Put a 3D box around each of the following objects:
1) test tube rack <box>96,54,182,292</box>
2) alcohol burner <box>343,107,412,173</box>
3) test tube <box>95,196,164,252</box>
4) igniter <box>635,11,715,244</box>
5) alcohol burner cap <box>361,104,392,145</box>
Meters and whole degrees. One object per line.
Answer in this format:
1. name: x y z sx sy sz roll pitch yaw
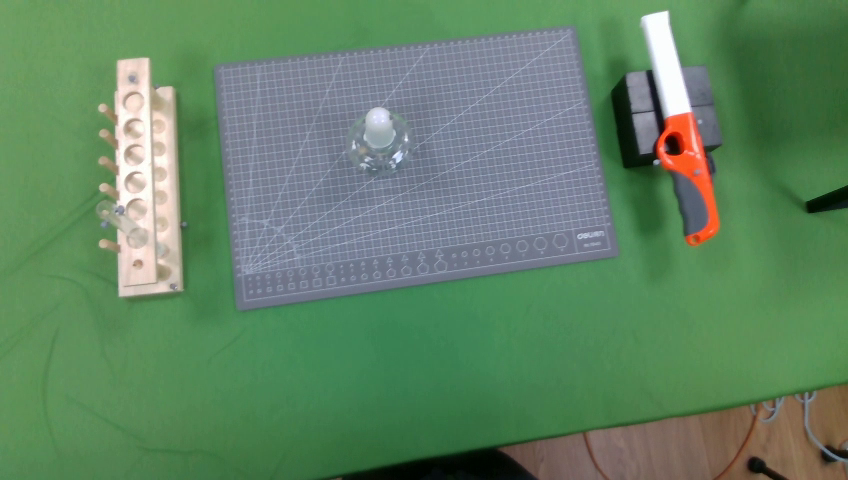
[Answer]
1. test tube rack: -0.317 -0.070 0.662 0.067 0.085 0.241 -6 81 -5
2. alcohol burner: -0.052 -0.117 0.671 0.078 0.119 0.077 0 81 -3
3. test tube: -0.289 -0.013 0.604 0.017 0.151 0.017 1 74 -5
4. igniter: 0.288 -0.132 0.696 0.057 0.025 0.275 -10 80 7
5. alcohol burner cap: -0.050 -0.125 0.636 0.034 0.048 0.033 1 73 -4
